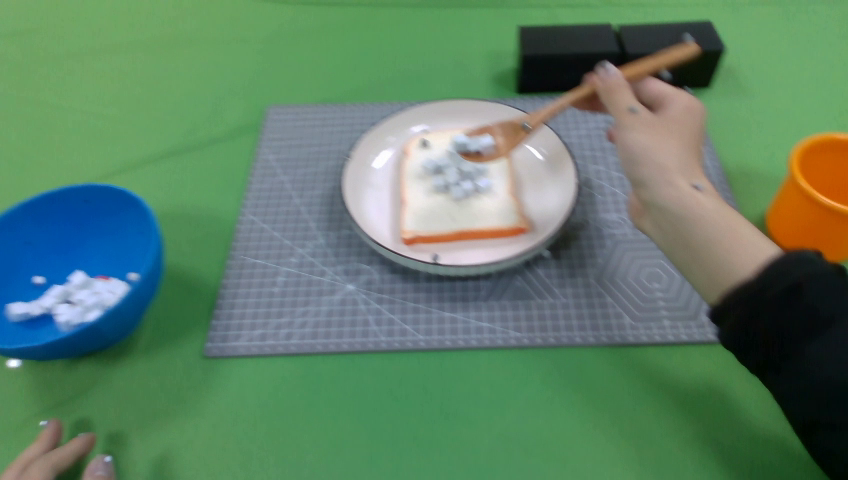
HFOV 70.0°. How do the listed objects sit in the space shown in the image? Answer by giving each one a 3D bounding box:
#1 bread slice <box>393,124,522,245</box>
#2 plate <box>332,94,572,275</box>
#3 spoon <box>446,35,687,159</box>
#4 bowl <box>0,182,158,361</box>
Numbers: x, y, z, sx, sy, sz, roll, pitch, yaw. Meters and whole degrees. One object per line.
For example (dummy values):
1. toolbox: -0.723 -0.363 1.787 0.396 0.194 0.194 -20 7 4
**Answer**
1. bread slice: 0.021 -0.053 0.548 0.107 0.018 0.133 -8 54 -3
2. plate: 0.024 -0.051 0.542 0.209 0.038 0.207 -1 53 2
3. spoon: 0.107 -0.110 0.464 0.193 0.022 0.041 -25 52 14
4. bowl: -0.272 0.035 0.467 0.151 0.077 0.150 -1 52 2
